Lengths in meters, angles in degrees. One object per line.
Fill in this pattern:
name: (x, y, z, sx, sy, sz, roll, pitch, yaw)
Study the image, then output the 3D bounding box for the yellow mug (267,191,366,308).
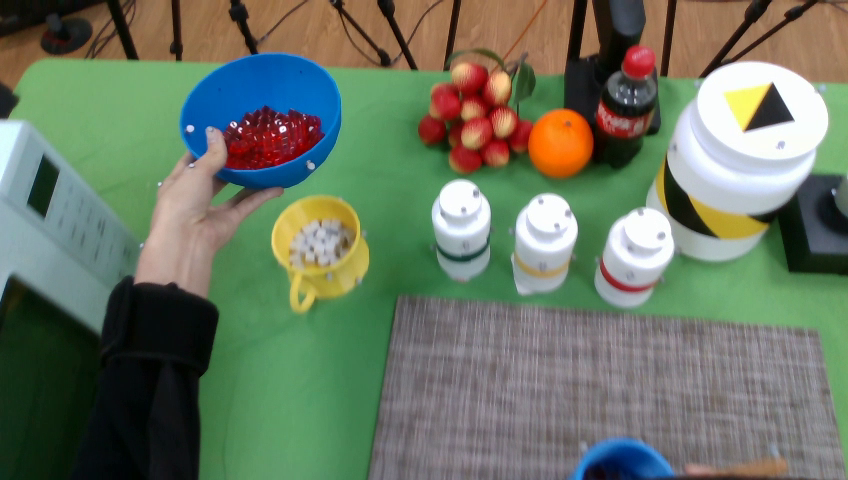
yellow mug: (-0.126, 0.016, 0.688, 0.099, 0.064, 0.130, 13, 64, 12)

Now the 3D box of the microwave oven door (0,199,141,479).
microwave oven door: (-0.340, 0.172, 0.501, 0.039, 0.246, 0.352, -5, 61, 3)

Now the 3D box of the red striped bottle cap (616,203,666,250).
red striped bottle cap: (0.210, -0.014, 0.584, 0.044, 0.018, 0.044, 0, 60, 1)

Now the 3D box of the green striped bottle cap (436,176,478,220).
green striped bottle cap: (0.033, -0.043, 0.616, 0.044, 0.020, 0.044, -2, 59, 4)

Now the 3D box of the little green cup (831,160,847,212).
little green cup: (0.463, -0.056, 0.635, 0.061, 0.039, 0.061, -1, 60, 3)

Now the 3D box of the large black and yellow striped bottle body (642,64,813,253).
large black and yellow striped bottle body: (0.314, -0.082, 0.636, 0.131, 0.185, 0.129, -2, 61, 4)

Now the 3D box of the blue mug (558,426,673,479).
blue mug: (0.148, 0.223, 0.525, 0.116, 0.107, 0.081, -28, 62, -10)

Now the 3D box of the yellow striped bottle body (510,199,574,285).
yellow striped bottle body: (0.125, -0.004, 0.646, 0.063, 0.121, 0.062, -2, 61, 5)

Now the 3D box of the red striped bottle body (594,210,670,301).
red striped bottle body: (0.215, 0.012, 0.630, 0.063, 0.121, 0.062, -3, 60, 6)

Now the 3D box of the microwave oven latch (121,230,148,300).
microwave oven latch: (-0.339, 0.029, 0.694, 0.030, 0.030, 0.078, -3, 62, 3)

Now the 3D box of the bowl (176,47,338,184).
bowl: (-0.153, -0.108, 0.596, 0.151, 0.077, 0.150, -1, 60, 2)

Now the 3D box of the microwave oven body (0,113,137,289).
microwave oven body: (-0.487, 0.149, 0.532, 0.326, 0.262, 0.437, -4, 62, 2)

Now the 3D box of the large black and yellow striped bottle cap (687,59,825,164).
large black and yellow striped bottle cap: (0.306, -0.121, 0.561, 0.115, 0.019, 0.114, -2, 60, 4)

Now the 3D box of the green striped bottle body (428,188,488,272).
green striped bottle body: (0.038, -0.018, 0.661, 0.063, 0.120, 0.062, -2, 61, 4)

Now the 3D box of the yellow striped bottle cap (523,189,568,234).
yellow striped bottle cap: (0.121, -0.029, 0.601, 0.044, 0.019, 0.044, -2, 63, 4)

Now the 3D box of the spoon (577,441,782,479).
spoon: (0.190, 0.190, 0.484, 0.022, 0.194, 0.041, 3, 62, -37)
